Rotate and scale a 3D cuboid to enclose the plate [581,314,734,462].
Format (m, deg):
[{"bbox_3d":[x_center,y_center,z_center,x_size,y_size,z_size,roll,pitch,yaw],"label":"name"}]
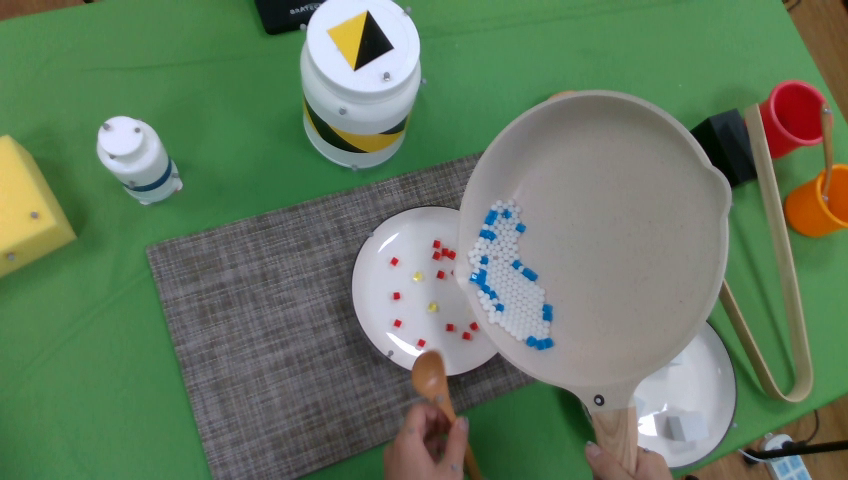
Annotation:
[{"bbox_3d":[0.282,0.167,0.757,0.208,0.039,0.206,3,75,-10],"label":"plate"}]

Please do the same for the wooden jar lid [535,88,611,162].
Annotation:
[{"bbox_3d":[0.203,-0.157,0.833,0.109,0.021,0.108,3,77,-10],"label":"wooden jar lid"}]

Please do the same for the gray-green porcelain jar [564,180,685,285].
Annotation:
[{"bbox_3d":[0.238,-0.003,0.745,0.106,0.127,0.105,3,75,-9],"label":"gray-green porcelain jar"}]

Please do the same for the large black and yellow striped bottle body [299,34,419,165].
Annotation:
[{"bbox_3d":[-0.077,-0.179,0.701,0.131,0.184,0.130,3,75,-9],"label":"large black and yellow striped bottle body"}]

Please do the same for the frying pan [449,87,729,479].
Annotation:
[{"bbox_3d":[0.165,0.096,0.586,0.103,0.306,0.484,14,66,-44],"label":"frying pan"}]

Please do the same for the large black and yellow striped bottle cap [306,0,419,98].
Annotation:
[{"bbox_3d":[-0.062,-0.201,0.619,0.115,0.019,0.114,3,74,-9],"label":"large black and yellow striped bottle cap"}]

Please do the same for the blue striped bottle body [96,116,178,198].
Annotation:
[{"bbox_3d":[-0.316,-0.093,0.666,0.063,0.121,0.062,3,75,-10],"label":"blue striped bottle body"}]

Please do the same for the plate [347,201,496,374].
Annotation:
[{"bbox_3d":[0.011,0.056,0.729,0.210,0.038,0.208,3,76,-10],"label":"plate"}]

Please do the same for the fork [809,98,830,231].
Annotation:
[{"bbox_3d":[0.532,-0.097,0.811,0.028,0.018,0.209,-31,127,-9],"label":"fork"}]

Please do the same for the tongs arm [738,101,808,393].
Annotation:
[{"bbox_3d":[0.461,0.006,0.804,0.028,0.027,0.387,-8,87,-20],"label":"tongs arm"}]

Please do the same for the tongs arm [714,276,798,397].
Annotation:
[{"bbox_3d":[0.383,0.031,0.781,0.051,0.026,0.384,-23,91,-18],"label":"tongs arm"}]

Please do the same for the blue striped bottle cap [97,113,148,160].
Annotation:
[{"bbox_3d":[-0.307,-0.106,0.617,0.045,0.021,0.044,2,73,-7],"label":"blue striped bottle cap"}]

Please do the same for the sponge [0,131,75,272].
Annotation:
[{"bbox_3d":[-0.507,-0.012,0.641,0.207,0.061,0.118,-32,84,-17],"label":"sponge"}]

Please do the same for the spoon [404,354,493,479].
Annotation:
[{"bbox_3d":[0.031,0.193,0.620,0.041,0.021,0.195,-40,112,-28],"label":"spoon"}]
